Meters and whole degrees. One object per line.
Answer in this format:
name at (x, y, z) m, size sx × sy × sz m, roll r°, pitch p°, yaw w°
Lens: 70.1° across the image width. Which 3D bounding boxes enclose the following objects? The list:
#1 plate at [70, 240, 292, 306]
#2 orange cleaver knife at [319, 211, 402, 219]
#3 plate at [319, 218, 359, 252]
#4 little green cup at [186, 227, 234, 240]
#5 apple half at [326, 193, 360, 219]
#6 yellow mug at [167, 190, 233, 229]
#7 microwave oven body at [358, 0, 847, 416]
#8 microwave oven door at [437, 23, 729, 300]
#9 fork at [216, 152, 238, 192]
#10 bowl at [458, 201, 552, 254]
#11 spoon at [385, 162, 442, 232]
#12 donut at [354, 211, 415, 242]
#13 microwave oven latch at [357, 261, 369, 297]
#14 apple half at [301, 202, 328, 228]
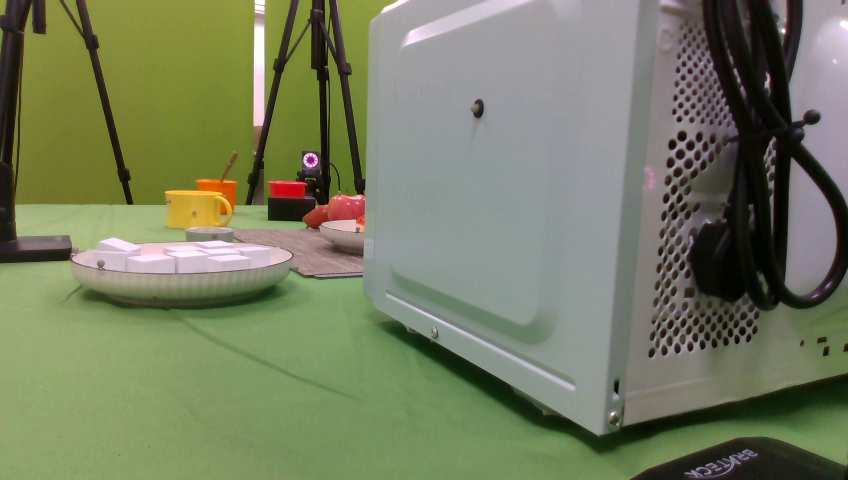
plate at (-0.242, 0.032, 0.618) m, size 0.208 × 0.039 × 0.207 m, roll 2°, pitch 8°, yaw 0°
orange cleaver knife at (-0.142, -0.057, 1.394) m, size 0.077 × 0.012 × 0.212 m, roll 3°, pitch 7°, yaw 44°
plate at (-0.059, -0.007, 0.939) m, size 0.209 × 0.038 × 0.209 m, roll 3°, pitch 8°, yaw 0°
little green cup at (-0.284, 0.005, 0.805) m, size 0.061 × 0.038 × 0.061 m, roll 2°, pitch 8°, yaw 0°
apple half at (-0.135, -0.047, 1.089) m, size 0.081 × 0.074 × 0.053 m, roll 5°, pitch 10°, yaw -12°
yellow mug at (-0.415, -0.057, 1.132) m, size 0.130 × 0.064 × 0.100 m, roll 6°, pitch 8°, yaw 16°
microwave oven body at (0.211, -0.047, 0.474) m, size 0.444 × 0.260 × 0.324 m, roll -1°, pitch 7°, yaw -28°
microwave oven door at (0.181, -0.072, 0.621) m, size 0.358 × 0.243 × 0.039 m, roll -2°, pitch 9°, yaw -29°
fork at (-0.455, -0.132, 1.367) m, size 0.028 × 0.018 × 0.207 m, roll -2°, pitch -35°, yaw -37°
bowl at (0.128, -0.021, 0.977) m, size 0.151 × 0.077 × 0.151 m, roll 1°, pitch 7°, yaw 0°
spoon at (-0.023, -0.087, 1.144) m, size 0.193 × 0.041 × 0.022 m, roll 52°, pitch 19°, yaw 27°
donut at (-0.062, -0.020, 0.955) m, size 0.099 × 0.048 × 0.099 m, roll 5°, pitch 7°, yaw 0°
microwave oven latch at (-0.019, 0.033, 0.531) m, size 0.079 × 0.029 × 0.030 m, roll -1°, pitch 7°, yaw -27°
apple half at (-0.194, -0.043, 1.173) m, size 0.081 × 0.032 × 0.081 m, roll -22°, pitch -15°, yaw -6°
